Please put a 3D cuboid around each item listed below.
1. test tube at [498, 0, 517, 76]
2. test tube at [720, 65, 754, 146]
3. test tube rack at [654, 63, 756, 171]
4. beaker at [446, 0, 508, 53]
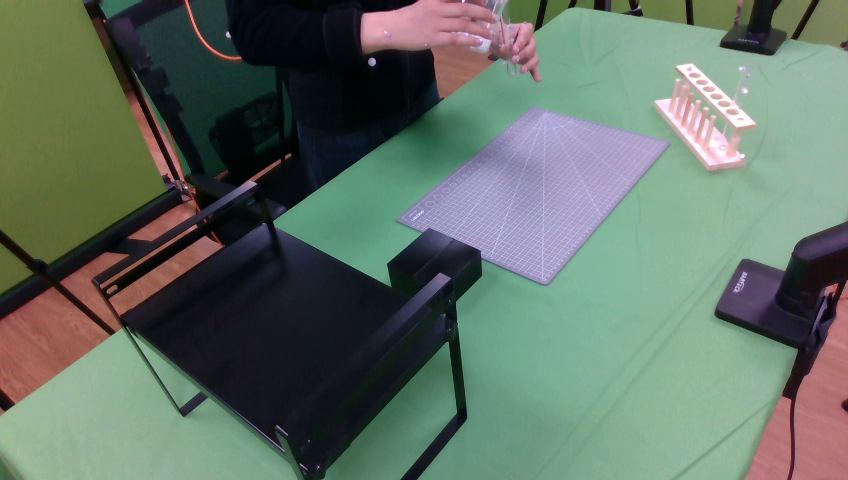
[{"bbox_3d":[0.139,-0.331,0.999,0.017,0.151,0.017,-7,56,11],"label":"test tube"},{"bbox_3d":[0.533,-0.226,1.032,0.017,0.151,0.017,-2,40,2],"label":"test tube"},{"bbox_3d":[0.510,-0.233,1.120,0.067,0.085,0.241,-8,41,-1],"label":"test tube rack"},{"bbox_3d":[0.080,-0.336,0.898,0.074,0.100,0.084,23,14,11],"label":"beaker"}]
